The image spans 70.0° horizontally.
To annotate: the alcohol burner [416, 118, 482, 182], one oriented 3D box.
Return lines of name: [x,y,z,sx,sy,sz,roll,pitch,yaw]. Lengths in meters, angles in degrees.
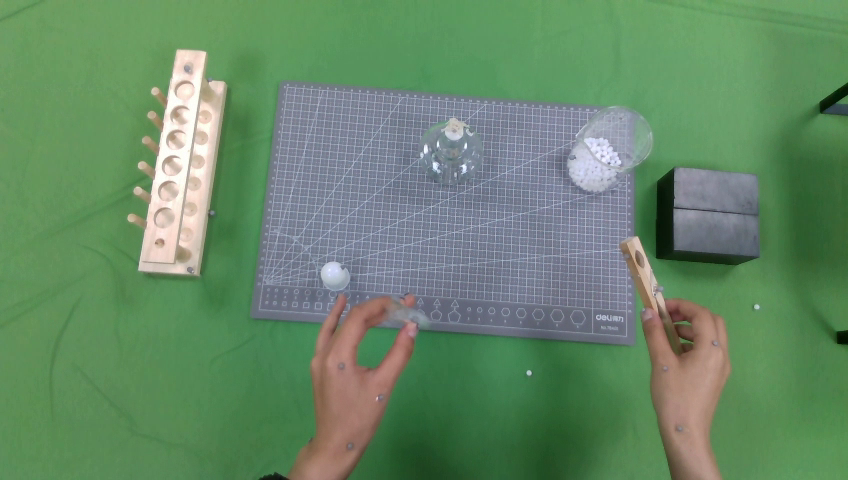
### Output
alcohol burner: [0.029,-0.110,0.693,0.078,0.119,0.077,0,78,0]

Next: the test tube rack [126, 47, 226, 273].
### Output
test tube rack: [-0.287,-0.090,0.691,0.067,0.085,0.241,4,78,-2]

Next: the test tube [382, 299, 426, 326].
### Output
test tube: [-0.015,0.067,0.551,0.017,0.151,0.017,-1,79,9]

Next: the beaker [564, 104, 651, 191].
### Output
beaker: [0.206,-0.103,0.708,0.084,0.100,0.073,3,77,-1]

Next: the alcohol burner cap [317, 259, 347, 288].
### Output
alcohol burner cap: [-0.107,0.037,0.693,0.034,0.048,0.033,1,78,-4]

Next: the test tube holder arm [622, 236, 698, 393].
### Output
test tube holder arm: [0.238,0.076,0.610,0.013,0.015,0.179,-29,99,-10]

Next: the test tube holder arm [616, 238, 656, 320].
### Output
test tube holder arm: [0.213,0.039,0.601,0.010,0.015,0.088,-28,99,-10]
